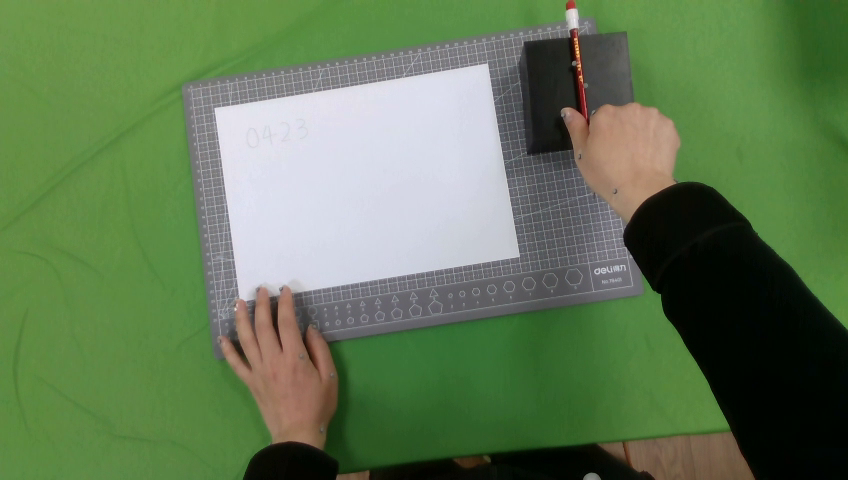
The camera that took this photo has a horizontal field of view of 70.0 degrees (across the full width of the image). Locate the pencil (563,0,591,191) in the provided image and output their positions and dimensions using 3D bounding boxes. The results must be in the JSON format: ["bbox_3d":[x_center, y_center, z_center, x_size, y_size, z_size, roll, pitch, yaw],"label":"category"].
[{"bbox_3d":[0.150,-0.143,0.587,0.012,0.012,0.193,-5,86,2],"label":"pencil"}]
